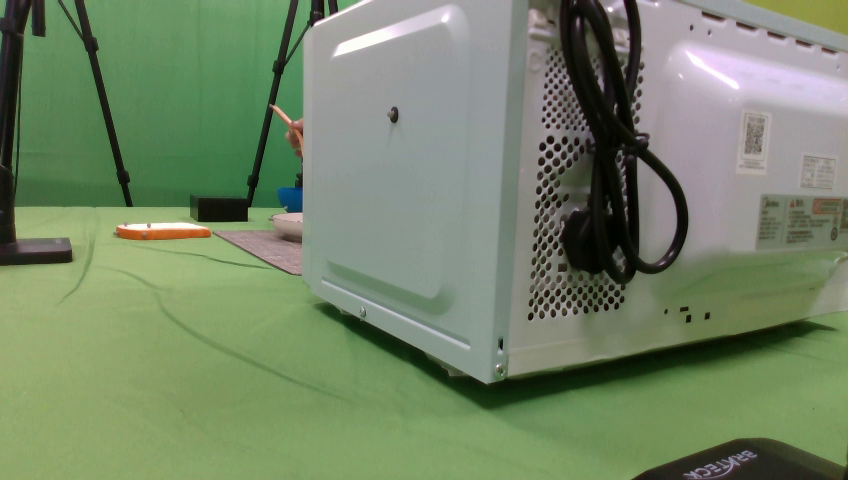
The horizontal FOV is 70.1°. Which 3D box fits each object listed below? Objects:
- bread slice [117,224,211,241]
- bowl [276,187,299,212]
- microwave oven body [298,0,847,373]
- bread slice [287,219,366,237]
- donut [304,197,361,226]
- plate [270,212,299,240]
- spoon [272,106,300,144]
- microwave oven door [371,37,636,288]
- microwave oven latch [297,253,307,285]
[{"bbox_3d":[-0.443,-0.015,1.022,0.132,0.019,0.104,-3,8,-45],"label":"bread slice"},{"bbox_3d":[-0.241,-0.073,1.302,0.151,0.077,0.151,2,7,0],"label":"bowl"},{"bbox_3d":[0.151,-0.055,0.543,0.444,0.260,0.324,-1,7,-33],"label":"microwave oven body"},{"bbox_3d":[-0.170,-0.022,1.056,0.134,0.018,0.107,2,7,-6],"label":"bread slice"},{"bbox_3d":[-0.159,-0.050,1.055,0.099,0.048,0.099,3,8,0],"label":"donut"},{"bbox_3d":[-0.162,-0.022,1.058,0.208,0.039,0.207,2,7,0],"label":"plate"},{"bbox_3d":[-0.251,-0.207,1.188,0.042,0.021,0.193,-5,50,-47],"label":"spoon"},{"bbox_3d":[0.109,-0.080,0.686,0.358,0.243,0.039,-2,9,-33],"label":"microwave oven door"},{"bbox_3d":[-0.082,0.027,0.582,0.079,0.029,0.030,-1,7,-32],"label":"microwave oven latch"}]
